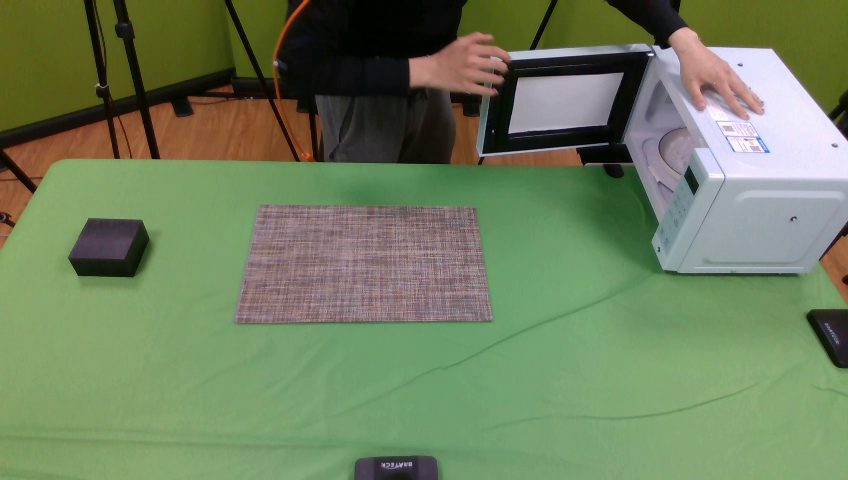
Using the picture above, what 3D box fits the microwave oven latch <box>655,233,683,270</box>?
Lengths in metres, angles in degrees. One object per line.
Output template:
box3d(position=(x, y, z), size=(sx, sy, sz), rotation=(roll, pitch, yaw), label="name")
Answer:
box3d(position=(0.473, 0.021, 1.176), size=(0.030, 0.029, 0.078), rotation=(2, 46, -1), label="microwave oven latch")

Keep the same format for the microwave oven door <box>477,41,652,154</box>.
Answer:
box3d(position=(0.304, -0.311, 1.337), size=(0.356, 0.245, 0.039), rotation=(-7, 47, -9), label="microwave oven door")

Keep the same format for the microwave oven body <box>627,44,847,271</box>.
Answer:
box3d(position=(0.619, -0.172, 1.234), size=(0.326, 0.261, 0.439), rotation=(0, 46, -3), label="microwave oven body")

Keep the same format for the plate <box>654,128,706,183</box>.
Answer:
box3d(position=(0.598, -0.166, 1.303), size=(0.209, 0.038, 0.208), rotation=(1, 46, -1), label="plate")
